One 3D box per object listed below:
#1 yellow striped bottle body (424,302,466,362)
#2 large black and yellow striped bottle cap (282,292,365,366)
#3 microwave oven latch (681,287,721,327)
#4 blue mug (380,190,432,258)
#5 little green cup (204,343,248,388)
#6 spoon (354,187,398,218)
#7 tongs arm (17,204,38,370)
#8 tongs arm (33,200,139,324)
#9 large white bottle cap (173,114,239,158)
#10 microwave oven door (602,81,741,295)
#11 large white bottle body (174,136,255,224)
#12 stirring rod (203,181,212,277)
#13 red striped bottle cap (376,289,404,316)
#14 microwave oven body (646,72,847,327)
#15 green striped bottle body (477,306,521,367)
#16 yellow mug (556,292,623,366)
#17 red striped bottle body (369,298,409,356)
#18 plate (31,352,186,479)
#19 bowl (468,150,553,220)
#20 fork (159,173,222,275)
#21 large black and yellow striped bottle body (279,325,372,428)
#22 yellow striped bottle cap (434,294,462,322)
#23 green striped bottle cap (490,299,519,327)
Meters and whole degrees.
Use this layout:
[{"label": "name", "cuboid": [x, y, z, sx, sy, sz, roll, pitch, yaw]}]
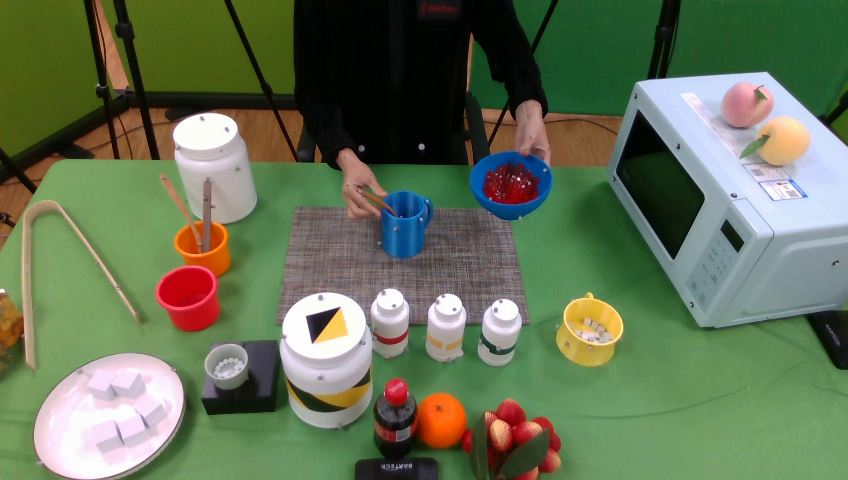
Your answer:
[{"label": "yellow striped bottle body", "cuboid": [0.035, 0.143, 0.995, 0.063, 0.121, 0.062, 3, 46, -2]}, {"label": "large black and yellow striped bottle cap", "cuboid": [-0.138, 0.121, 0.841, 0.115, 0.019, 0.114, 3, 47, -3]}, {"label": "microwave oven latch", "cuboid": [0.494, 0.119, 1.087, 0.030, 0.029, 0.078, -6, 46, -9]}, {"label": "blue mug", "cuboid": [-0.030, -0.037, 1.169, 0.116, 0.106, 0.082, -28, 54, -28]}, {"label": "little green cup", "cuboid": [-0.294, 0.190, 0.909, 0.061, 0.039, 0.061, 1, 48, -1]}, {"label": "spoon", "cuboid": [-0.068, -0.055, 1.123, 0.021, 0.195, 0.041, -43, 50, 6]}, {"label": "tongs arm", "cuboid": [-0.698, 0.069, 1.068, 0.028, 0.028, 0.385, -20, 50, -13]}, {"label": "tongs arm", "cuboid": [-0.622, 0.034, 1.105, 0.051, 0.026, 0.382, -32, 55, -26]}, {"label": "large white bottle cap", "cuboid": [-0.403, -0.195, 1.122, 0.115, 0.018, 0.114, 2, 47, -2]}, {"label": "microwave oven door", "cuboid": [0.456, -0.108, 1.162, 0.039, 0.245, 0.353, -7, 47, -10]}, {"label": "large white bottle body", "cuboid": [-0.408, -0.136, 1.183, 0.131, 0.185, 0.130, 2, 46, -2]}, {"label": "stirring rod", "cuboid": [-0.396, -0.021, 1.107, 0.014, 0.006, 0.176, -1, 89, -1]}, {"label": "red striped bottle cap", "cuboid": [-0.054, 0.098, 0.958, 0.044, 0.018, 0.044, 0, 48, 0]}, {"label": "microwave oven body", "cuboid": [0.607, -0.090, 1.164, 0.326, 0.261, 0.438, -7, 46, -10]}, {"label": "green striped bottle body", "cuboid": [0.124, 0.151, 0.995, 0.063, 0.120, 0.063, 2, 46, -2]}, {"label": "yellow mug", "cuboid": [0.285, 0.146, 1.051, 0.100, 0.064, 0.130, 7, 45, 3]}, {"label": "red striped bottle body", "cuboid": [-0.058, 0.134, 0.997, 0.063, 0.120, 0.062, 4, 47, -4]}, {"label": "plate", "cuboid": [-0.459, 0.262, 0.898, 0.209, 0.038, 0.208, 2, 46, -2]}, {"label": "bowl", "cuboid": [0.158, -0.089, 1.123, 0.151, 0.077, 0.150, -3, 47, 4]}, {"label": "fork", "cuboid": [-0.427, -0.029, 1.103, 0.028, 0.018, 0.207, -31, 99, -30]}, {"label": "large black and yellow striped bottle body", "cuboid": [-0.143, 0.181, 0.900, 0.131, 0.185, 0.130, 2, 46, -2]}, {"label": "yellow striped bottle cap", "cuboid": [0.037, 0.107, 0.958, 0.044, 0.019, 0.044, 2, 45, -2]}, {"label": "green striped bottle cap", "cuboid": [0.127, 0.115, 0.958, 0.044, 0.020, 0.044, 3, 48, -3]}]
